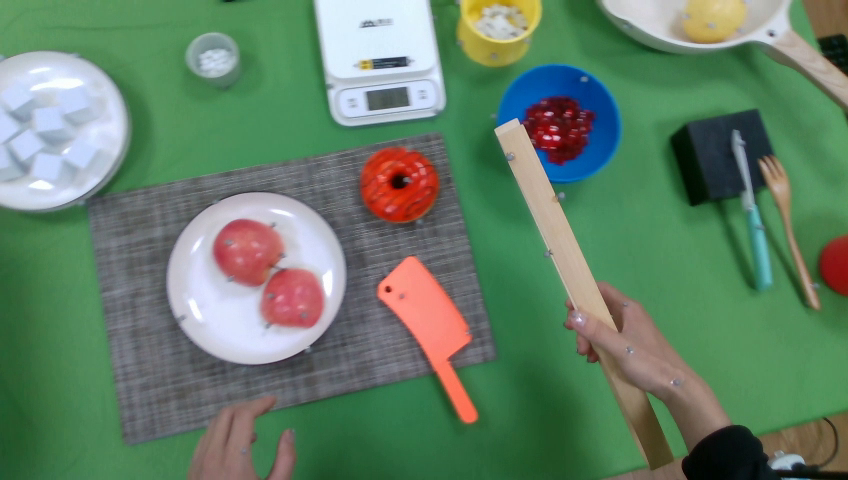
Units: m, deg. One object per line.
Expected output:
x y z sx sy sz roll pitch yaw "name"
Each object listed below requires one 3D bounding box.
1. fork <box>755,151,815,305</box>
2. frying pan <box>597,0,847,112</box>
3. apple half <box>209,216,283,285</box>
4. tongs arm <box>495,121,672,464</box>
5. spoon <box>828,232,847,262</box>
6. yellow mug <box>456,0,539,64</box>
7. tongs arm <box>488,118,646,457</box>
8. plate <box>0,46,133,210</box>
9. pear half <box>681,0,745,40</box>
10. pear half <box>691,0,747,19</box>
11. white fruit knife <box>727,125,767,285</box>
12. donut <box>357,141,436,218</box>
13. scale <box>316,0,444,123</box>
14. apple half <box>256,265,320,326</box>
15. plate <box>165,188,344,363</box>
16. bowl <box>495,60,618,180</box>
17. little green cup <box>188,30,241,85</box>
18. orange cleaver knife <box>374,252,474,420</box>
0.461 -0.014 0.768 0.028 0.018 0.208 -22 97 -11 "fork"
0.416 -0.309 0.797 0.307 0.103 0.485 -39 76 -8 "frying pan"
-0.214 0.007 0.715 0.074 0.053 0.080 38 79 7 "apple half"
0.159 0.065 0.583 0.026 0.050 0.386 -27 102 4 "tongs arm"
0.565 0.050 0.723 0.041 0.022 0.191 -17 37 -7 "spoon"
0.084 -0.303 0.794 0.130 0.064 0.100 44 81 5 "yellow mug"
0.159 0.057 0.616 0.028 0.028 0.389 -27 103 1 "tongs arm"
-0.462 -0.135 0.744 0.208 0.039 0.207 1 80 -3 "plate"
0.379 -0.300 0.786 0.076 0.110 0.056 24 80 5 "pear half"
0.395 -0.329 0.802 0.070 0.088 0.031 22 81 4 "pear half"
0.404 -0.042 0.762 0.016 0.027 0.207 -14 96 -5 "white fruit knife"
-0.035 -0.075 0.754 0.099 0.048 0.098 0 81 -2 "donut"
-0.059 -0.258 0.795 0.149 0.031 0.200 -8 81 -4 "scale"
-0.164 0.065 0.717 0.081 0.033 0.081 0 82 -1 "apple half"
-0.199 0.041 0.726 0.209 0.038 0.208 1 80 -3 "plate"
0.159 -0.139 0.764 0.151 0.077 0.151 1 80 -3 "bowl"
-0.265 -0.230 0.774 0.061 0.039 0.061 1 79 -3 "little green cup"
0.015 0.113 0.735 0.077 0.012 0.210 -30 81 -15 "orange cleaver knife"
